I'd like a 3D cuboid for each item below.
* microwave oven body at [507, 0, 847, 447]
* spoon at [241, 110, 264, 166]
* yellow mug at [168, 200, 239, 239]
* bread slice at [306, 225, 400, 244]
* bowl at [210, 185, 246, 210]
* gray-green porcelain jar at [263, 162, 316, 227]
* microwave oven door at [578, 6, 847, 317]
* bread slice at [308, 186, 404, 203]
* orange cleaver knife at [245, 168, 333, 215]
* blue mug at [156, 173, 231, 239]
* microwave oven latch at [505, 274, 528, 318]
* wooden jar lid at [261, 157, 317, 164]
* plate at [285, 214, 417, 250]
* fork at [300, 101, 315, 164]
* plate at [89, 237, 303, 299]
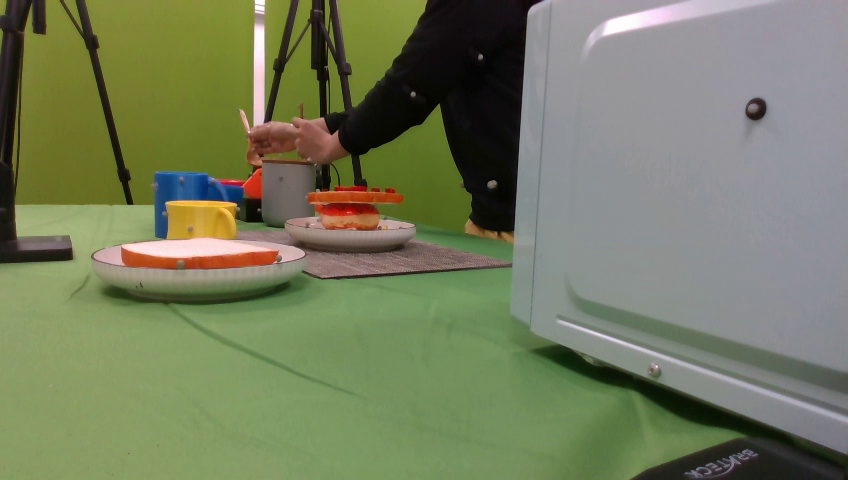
[{"bbox_3d":[0.331,-0.042,0.425,0.444,0.260,0.324,-2,8,-31],"label":"microwave oven body"},{"bbox_3d":[-0.437,-0.258,1.525,0.042,0.193,0.021,2,-33,-37],"label":"spoon"},{"bbox_3d":[-0.320,-0.023,0.904,0.130,0.064,0.100,9,11,36],"label":"yellow mug"},{"bbox_3d":[-0.104,-0.009,0.961,0.131,0.019,0.105,1,8,24],"label":"bread slice"},{"bbox_3d":[-0.422,-0.067,1.166,0.151,0.077,0.151,2,7,0],"label":"bowl"},{"bbox_3d":[-0.271,-0.092,1.218,0.106,0.126,0.106,2,7,0],"label":"gray-green porcelain jar"},{"bbox_3d":[0.294,-0.067,0.570,0.358,0.243,0.039,-3,9,-31],"label":"microwave oven door"},{"bbox_3d":[-0.114,-0.071,0.952,0.134,0.018,0.107,-2,0,21],"label":"bread slice"},{"bbox_3d":[-0.300,-0.089,1.352,0.212,0.077,0.012,28,-9,-34],"label":"orange cleaver knife"},{"bbox_3d":[-0.381,-0.057,1.004,0.117,0.106,0.082,0,8,-12],"label":"blue mug"},{"bbox_3d":[0.100,0.041,0.472,0.079,0.029,0.030,-2,8,-30],"label":"microwave oven latch"},{"bbox_3d":[-0.269,-0.154,1.208,0.108,0.020,0.108,3,4,0],"label":"wooden jar lid"},{"bbox_3d":[-0.116,-0.014,0.964,0.209,0.038,0.209,2,7,0],"label":"plate"},{"bbox_3d":[-0.276,-0.234,1.430,0.018,0.207,0.028,-2,41,2],"label":"fork"},{"bbox_3d":[-0.233,0.029,0.637,0.208,0.039,0.207,2,7,0],"label":"plate"}]
